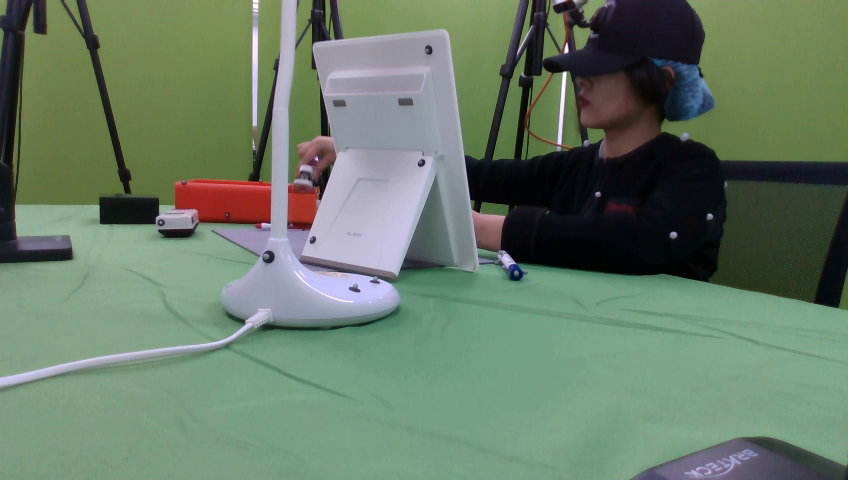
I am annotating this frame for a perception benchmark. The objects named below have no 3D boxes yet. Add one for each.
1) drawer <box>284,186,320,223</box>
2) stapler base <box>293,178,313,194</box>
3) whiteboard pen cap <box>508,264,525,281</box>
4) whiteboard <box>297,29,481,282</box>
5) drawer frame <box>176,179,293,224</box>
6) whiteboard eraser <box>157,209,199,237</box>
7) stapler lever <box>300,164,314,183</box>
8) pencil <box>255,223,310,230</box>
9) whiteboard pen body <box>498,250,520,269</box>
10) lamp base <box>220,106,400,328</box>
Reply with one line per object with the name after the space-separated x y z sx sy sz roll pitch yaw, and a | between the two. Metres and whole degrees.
-0.333 -0.082 1.310 0.212 0.073 0.194 1 8 -8 | drawer
-0.256 -0.096 1.290 0.041 0.024 0.130 10 -32 -5 | stapler base
0.115 0.039 0.752 0.018 0.018 0.033 2 9 0 | whiteboard pen cap
-0.075 -0.082 0.741 0.216 0.305 0.144 9 29 37 | whiteboard
-0.395 -0.086 1.299 0.214 0.082 0.201 1 8 -9 | drawer frame
-0.411 -0.029 1.016 0.056 0.042 0.112 2 7 -16 | whiteboard eraser
-0.254 -0.118 1.305 0.027 0.040 0.118 11 -33 -5 | stapler lever
-0.216 -0.023 1.134 0.195 0.012 0.012 1 7 -21 | pencil
0.116 0.032 0.810 0.017 0.017 0.140 2 8 -1 | whiteboard pen body
-0.101 -0.023 0.531 0.160 0.180 0.179 4 10 10 | lamp base
